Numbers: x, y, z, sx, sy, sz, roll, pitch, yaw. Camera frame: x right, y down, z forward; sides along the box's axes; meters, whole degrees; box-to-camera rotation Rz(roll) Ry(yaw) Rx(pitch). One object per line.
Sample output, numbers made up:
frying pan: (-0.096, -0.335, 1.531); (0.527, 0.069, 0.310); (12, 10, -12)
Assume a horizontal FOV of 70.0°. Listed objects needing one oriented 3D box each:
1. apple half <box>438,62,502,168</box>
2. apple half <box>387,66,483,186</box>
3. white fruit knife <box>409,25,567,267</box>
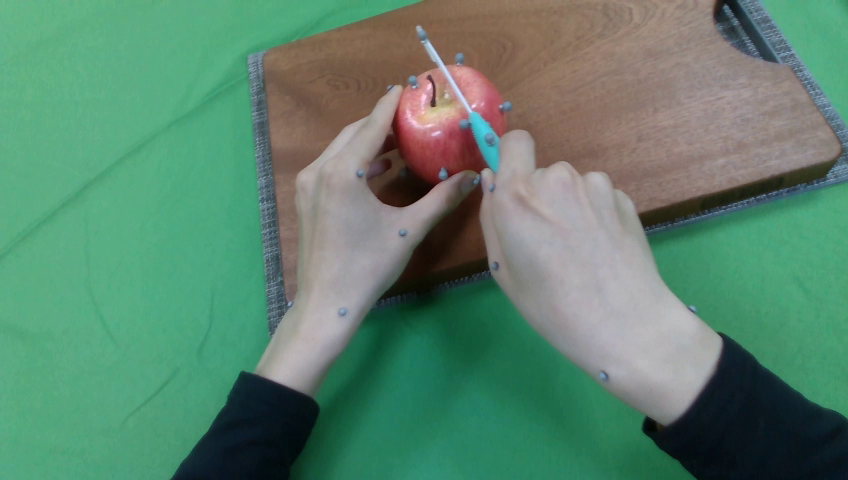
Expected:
apple half: (0.038, -0.092, 0.432); (0.033, 0.082, 0.080); (-27, 60, -1)
apple half: (0.003, -0.074, 0.431); (0.053, 0.075, 0.080); (-28, 62, 1)
white fruit knife: (0.032, -0.071, 0.383); (0.016, 0.028, 0.205); (-29, 62, 1)
